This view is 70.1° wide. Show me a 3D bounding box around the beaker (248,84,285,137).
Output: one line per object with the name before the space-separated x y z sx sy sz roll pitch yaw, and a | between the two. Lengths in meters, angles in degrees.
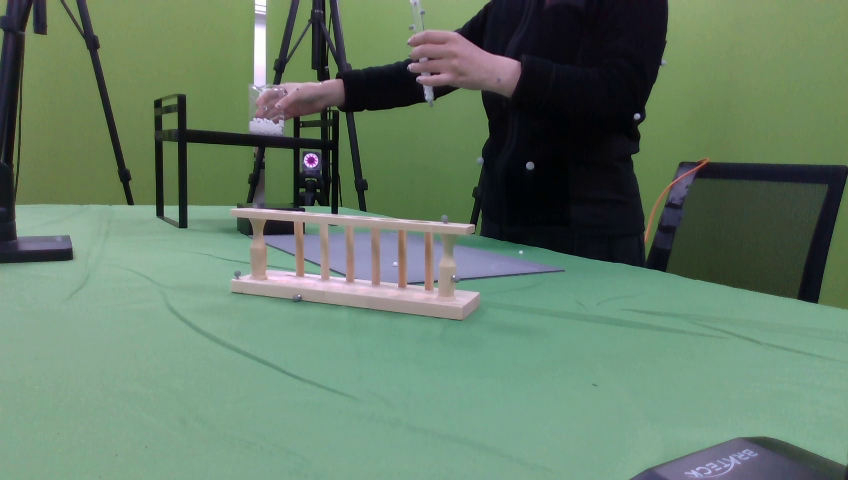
beaker | -0.320 -0.261 1.225 0.074 0.100 0.084 2 8 3

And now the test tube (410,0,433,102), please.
test tube | -0.003 -0.287 0.920 0.017 0.150 0.017 -8 12 2

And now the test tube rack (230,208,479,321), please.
test tube rack | -0.069 0.017 0.598 0.242 0.085 0.067 5 8 18
